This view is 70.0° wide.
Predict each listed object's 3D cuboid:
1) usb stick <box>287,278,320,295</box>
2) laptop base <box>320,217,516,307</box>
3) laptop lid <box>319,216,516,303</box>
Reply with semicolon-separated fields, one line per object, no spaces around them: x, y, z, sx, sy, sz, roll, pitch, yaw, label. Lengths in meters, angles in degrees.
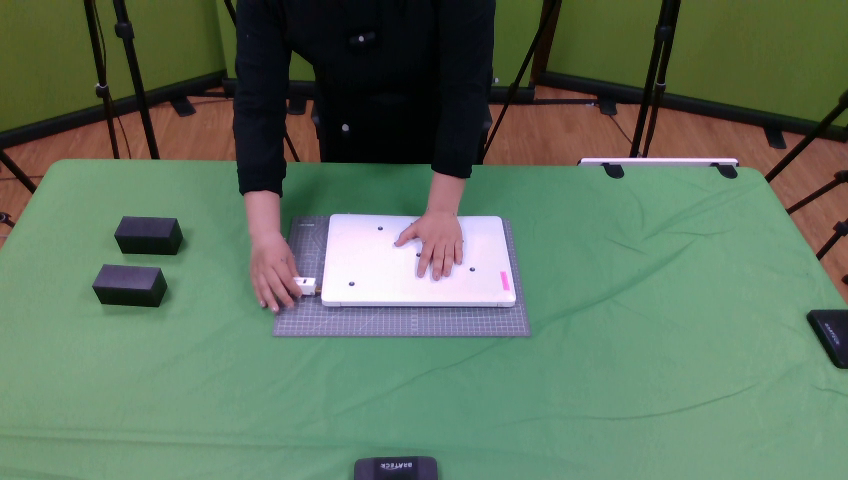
-0.213;0.084;1.085;0.059;0.027;0.021;4;40;1;usb stick
-0.013;0.040;1.160;0.355;0.023;0.234;1;42;-4;laptop base
-0.013;0.031;1.155;0.357;0.013;0.240;2;42;-3;laptop lid
